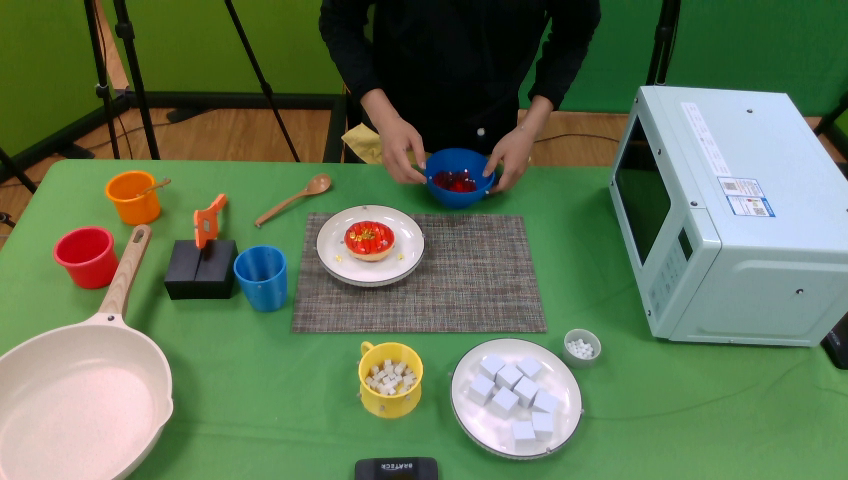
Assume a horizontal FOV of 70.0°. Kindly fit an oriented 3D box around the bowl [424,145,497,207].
[{"bbox_3d":[0.074,-0.124,1.277,0.151,0.077,0.150,2,47,-2],"label":"bowl"}]

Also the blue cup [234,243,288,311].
[{"bbox_3d":[-0.276,0.072,1.052,0.093,0.101,0.092,1,48,-1],"label":"blue cup"}]

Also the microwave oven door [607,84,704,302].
[{"bbox_3d":[0.424,-0.096,1.138,0.039,0.245,0.353,3,46,-1],"label":"microwave oven door"}]

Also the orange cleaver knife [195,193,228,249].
[{"bbox_3d":[-0.406,-0.041,1.163,0.012,0.077,0.210,0,18,-3],"label":"orange cleaver knife"}]

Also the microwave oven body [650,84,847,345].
[{"bbox_3d":[0.568,-0.054,1.116,0.326,0.261,0.439,2,46,-1],"label":"microwave oven body"}]

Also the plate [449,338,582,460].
[{"bbox_3d":[0.141,0.251,0.955,0.208,0.039,0.206,2,46,-2],"label":"plate"}]

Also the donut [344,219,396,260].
[{"bbox_3d":[-0.103,-0.002,1.157,0.099,0.048,0.098,3,43,-2],"label":"donut"}]

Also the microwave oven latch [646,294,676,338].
[{"bbox_3d":[0.412,0.133,1.060,0.030,0.029,0.078,3,46,0],"label":"microwave oven latch"}]

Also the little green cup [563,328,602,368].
[{"bbox_3d":[0.265,0.184,1.025,0.061,0.039,0.061,1,46,-1],"label":"little green cup"}]

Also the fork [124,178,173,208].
[{"bbox_3d":[-0.525,-0.089,1.153,0.207,0.019,0.028,-18,27,45],"label":"fork"}]

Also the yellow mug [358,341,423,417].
[{"bbox_3d":[-0.062,0.210,0.961,0.100,0.064,0.130,-29,54,-27],"label":"yellow mug"}]

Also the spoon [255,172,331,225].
[{"bbox_3d":[-0.272,-0.087,1.257,0.041,0.022,0.193,45,57,12],"label":"spoon"}]

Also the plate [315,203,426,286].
[{"bbox_3d":[-0.101,0.012,1.159,0.209,0.038,0.208,2,46,-2],"label":"plate"}]

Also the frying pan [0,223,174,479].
[{"bbox_3d":[-0.505,0.169,0.941,0.307,0.103,0.485,5,54,-1],"label":"frying pan"}]
